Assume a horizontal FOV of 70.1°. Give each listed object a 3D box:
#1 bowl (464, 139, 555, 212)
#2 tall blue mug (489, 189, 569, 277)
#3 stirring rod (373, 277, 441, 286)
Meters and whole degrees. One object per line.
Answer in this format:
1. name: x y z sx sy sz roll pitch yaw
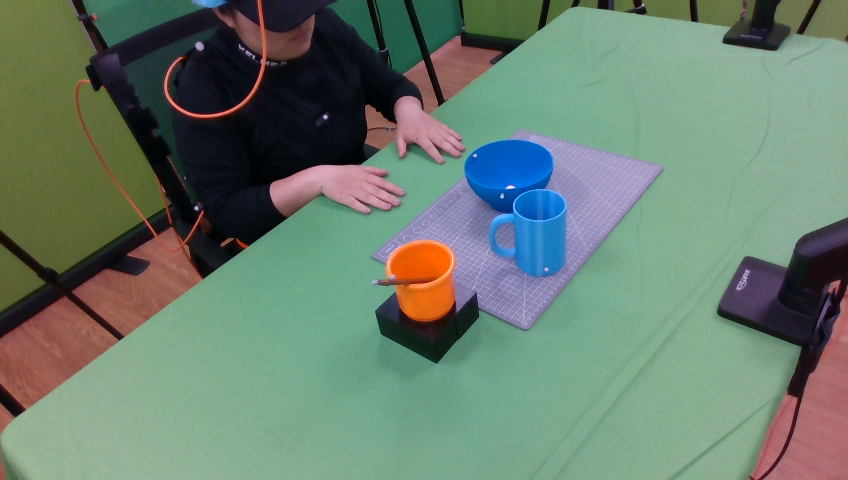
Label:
1. bowl: 0.145 -0.100 1.025 0.151 0.077 0.150 -5 40 5
2. tall blue mug: 0.158 -0.005 0.886 0.107 0.108 0.077 -23 43 -16
3. stirring rod: -0.018 0.051 0.757 0.014 0.006 0.177 10 2 24
